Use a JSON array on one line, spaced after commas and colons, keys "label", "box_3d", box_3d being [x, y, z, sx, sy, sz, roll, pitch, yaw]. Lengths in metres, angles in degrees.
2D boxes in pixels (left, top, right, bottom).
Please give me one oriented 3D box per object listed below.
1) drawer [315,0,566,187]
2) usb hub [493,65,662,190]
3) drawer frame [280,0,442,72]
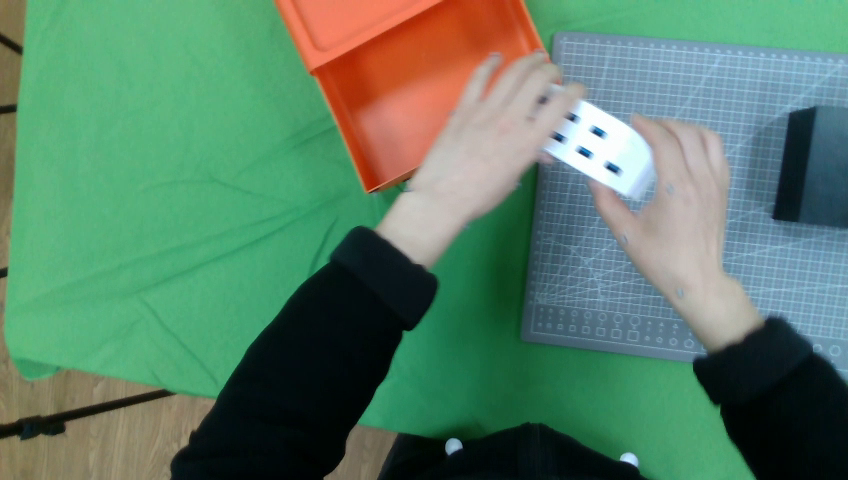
[{"label": "drawer", "box_3d": [0.000, -0.179, 0.547, 0.194, 0.073, 0.212, -23, 94, 8]}, {"label": "usb hub", "box_3d": [0.121, -0.090, 0.483, 0.125, 0.025, 0.049, 29, 110, 8]}, {"label": "drawer frame", "box_3d": [-0.050, -0.286, 0.537, 0.201, 0.082, 0.213, -26, 93, 8]}]
